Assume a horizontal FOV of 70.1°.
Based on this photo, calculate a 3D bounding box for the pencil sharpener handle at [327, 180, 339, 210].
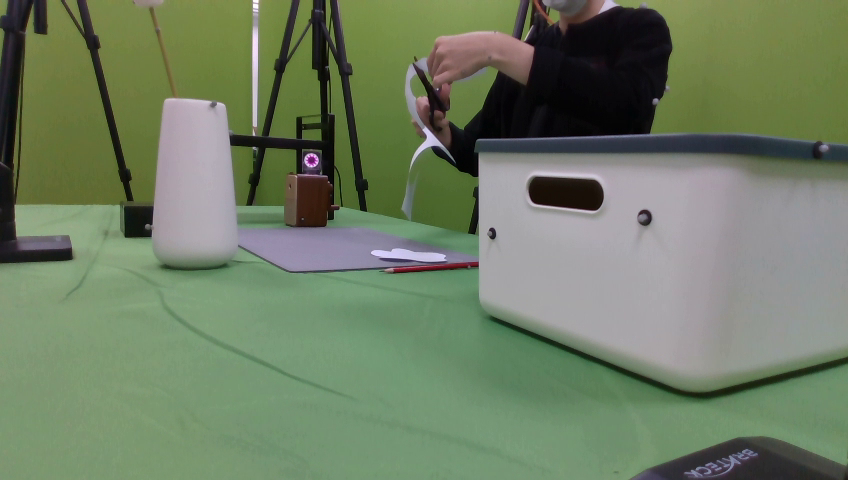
[{"bbox_3d":[-0.194,-0.095,1.257,0.031,0.067,0.036,-2,-6,-36],"label":"pencil sharpener handle"}]

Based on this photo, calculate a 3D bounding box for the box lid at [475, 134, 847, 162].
[{"bbox_3d":[0.256,-0.073,0.528,0.373,0.015,0.262,-2,8,-31],"label":"box lid"}]

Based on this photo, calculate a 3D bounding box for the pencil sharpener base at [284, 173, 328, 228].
[{"bbox_3d":[-0.239,-0.081,1.231,0.077,0.107,0.061,-2,8,-36],"label":"pencil sharpener base"}]

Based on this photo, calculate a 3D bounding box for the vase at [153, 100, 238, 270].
[{"bbox_3d":[-0.278,-0.066,0.736,0.098,0.200,0.098,2,9,0],"label":"vase"}]

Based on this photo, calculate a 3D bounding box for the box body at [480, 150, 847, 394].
[{"bbox_3d":[0.254,0.001,0.539,0.366,0.160,0.253,-2,9,-31],"label":"box body"}]

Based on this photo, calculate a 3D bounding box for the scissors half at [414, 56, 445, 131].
[{"bbox_3d":[0.007,-0.256,1.073,0.012,0.040,0.176,13,-30,26],"label":"scissors half"}]

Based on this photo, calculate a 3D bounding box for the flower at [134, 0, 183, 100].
[{"bbox_3d":[-0.282,-0.147,0.713,0.038,0.362,0.044,-23,24,-31],"label":"flower"}]

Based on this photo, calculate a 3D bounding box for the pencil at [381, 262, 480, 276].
[{"bbox_3d":[0.030,0.037,0.794,0.195,0.012,0.012,-4,10,-31],"label":"pencil"}]

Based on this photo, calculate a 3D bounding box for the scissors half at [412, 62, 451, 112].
[{"bbox_3d":[0.014,-0.276,1.080,0.013,0.040,0.176,8,-7,24],"label":"scissors half"}]
